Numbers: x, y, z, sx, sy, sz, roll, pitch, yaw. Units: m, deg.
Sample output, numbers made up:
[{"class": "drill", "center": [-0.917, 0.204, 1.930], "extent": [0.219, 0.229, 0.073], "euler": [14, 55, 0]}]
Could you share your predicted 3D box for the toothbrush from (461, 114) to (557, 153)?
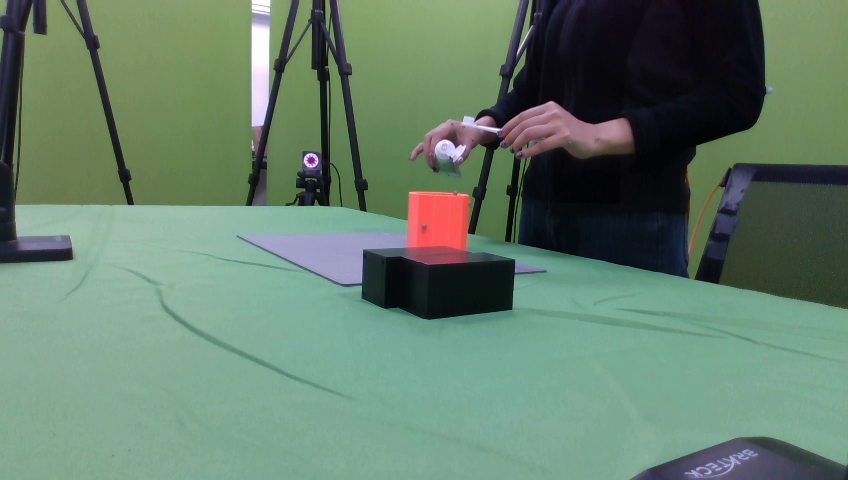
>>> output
[{"class": "toothbrush", "center": [0.130, -0.168, 0.951], "extent": [0.181, 0.014, 0.017], "euler": [28, 32, 34]}]

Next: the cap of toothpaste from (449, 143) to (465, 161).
[{"class": "cap of toothpaste", "center": [0.054, -0.148, 1.004], "extent": [0.011, 0.037, 0.037], "euler": [40, -1, -13]}]

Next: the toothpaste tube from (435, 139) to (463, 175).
[{"class": "toothpaste tube", "center": [0.044, -0.146, 1.094], "extent": [0.055, 0.034, 0.165], "euler": [15, -8, 6]}]

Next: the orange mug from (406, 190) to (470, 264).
[{"class": "orange mug", "center": [0.027, -0.023, 0.866], "extent": [0.083, 0.101, 0.126], "euler": [6, 12, 24]}]
